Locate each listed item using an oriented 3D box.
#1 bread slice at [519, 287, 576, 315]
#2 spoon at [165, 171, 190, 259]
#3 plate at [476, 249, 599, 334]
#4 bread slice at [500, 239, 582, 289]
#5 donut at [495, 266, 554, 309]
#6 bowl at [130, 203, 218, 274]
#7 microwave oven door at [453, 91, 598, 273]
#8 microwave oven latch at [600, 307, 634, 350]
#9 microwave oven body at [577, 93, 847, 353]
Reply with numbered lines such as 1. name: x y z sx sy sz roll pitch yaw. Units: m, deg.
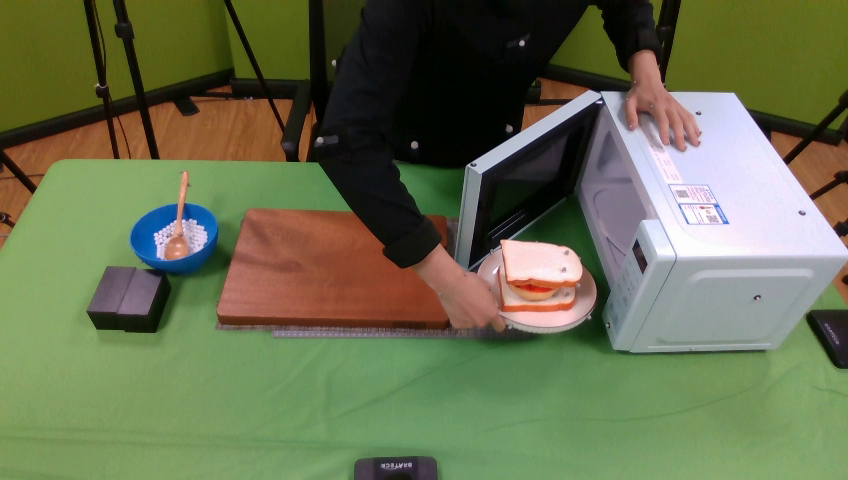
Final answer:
1. bread slice: 0.196 0.098 1.056 0.131 0.019 0.104 -11 33 3
2. spoon: -0.452 -0.046 1.129 0.041 0.022 0.193 -1 69 -3
3. plate: 0.193 0.087 1.045 0.208 0.039 0.206 1 40 0
4. bread slice: 0.194 0.040 1.010 0.134 0.018 0.106 4 38 -7
5. donut: 0.169 0.074 1.020 0.099 0.048 0.098 0 42 1
6. bowl: -0.451 0.010 1.116 0.151 0.077 0.150 3 45 -3
7. microwave oven door: 0.198 -0.115 1.153 0.356 0.245 0.039 -34 57 -31
8. microwave oven latch: 0.330 0.152 1.045 0.030 0.029 0.078 -3 45 -7
9. microwave oven body: 0.475 -0.041 1.109 0.326 0.261 0.438 -1 45 -4
